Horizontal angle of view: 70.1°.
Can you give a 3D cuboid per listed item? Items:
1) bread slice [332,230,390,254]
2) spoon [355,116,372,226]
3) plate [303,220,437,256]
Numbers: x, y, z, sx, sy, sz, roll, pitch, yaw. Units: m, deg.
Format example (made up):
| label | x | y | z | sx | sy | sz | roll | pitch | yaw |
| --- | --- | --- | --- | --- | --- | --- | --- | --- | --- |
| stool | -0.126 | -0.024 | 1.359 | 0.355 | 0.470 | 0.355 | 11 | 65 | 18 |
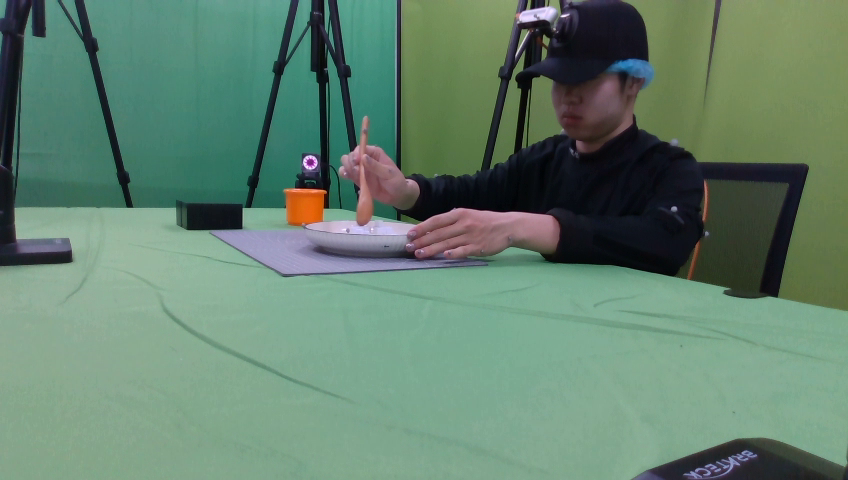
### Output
| label | x | y | z | sx | sy | sz | roll | pitch | yaw |
| --- | --- | --- | --- | --- | --- | --- | --- | --- | --- |
| bread slice | -0.088 | 0.001 | 0.947 | 0.105 | 0.019 | 0.131 | -4 | 11 | -45 |
| spoon | -0.099 | -0.115 | 0.981 | 0.021 | 0.193 | 0.042 | -13 | -21 | 26 |
| plate | -0.084 | -0.003 | 0.951 | 0.209 | 0.038 | 0.209 | 3 | 7 | 0 |
